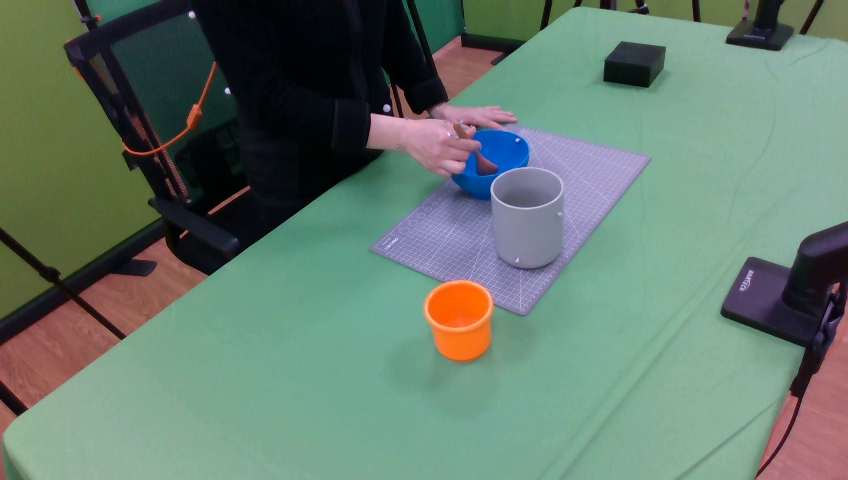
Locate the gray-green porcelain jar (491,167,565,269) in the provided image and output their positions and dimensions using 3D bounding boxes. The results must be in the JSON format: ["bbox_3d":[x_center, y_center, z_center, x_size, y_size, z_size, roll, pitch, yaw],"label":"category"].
[{"bbox_3d":[0.157,-0.029,0.904,0.106,0.127,0.105,-6,40,5],"label":"gray-green porcelain jar"}]

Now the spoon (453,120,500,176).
[{"bbox_3d":[0.083,-0.148,0.991,0.041,0.195,0.021,-11,64,21],"label":"spoon"}]

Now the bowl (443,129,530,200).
[{"bbox_3d":[0.113,-0.123,1.063,0.151,0.077,0.150,-6,40,5],"label":"bowl"}]
